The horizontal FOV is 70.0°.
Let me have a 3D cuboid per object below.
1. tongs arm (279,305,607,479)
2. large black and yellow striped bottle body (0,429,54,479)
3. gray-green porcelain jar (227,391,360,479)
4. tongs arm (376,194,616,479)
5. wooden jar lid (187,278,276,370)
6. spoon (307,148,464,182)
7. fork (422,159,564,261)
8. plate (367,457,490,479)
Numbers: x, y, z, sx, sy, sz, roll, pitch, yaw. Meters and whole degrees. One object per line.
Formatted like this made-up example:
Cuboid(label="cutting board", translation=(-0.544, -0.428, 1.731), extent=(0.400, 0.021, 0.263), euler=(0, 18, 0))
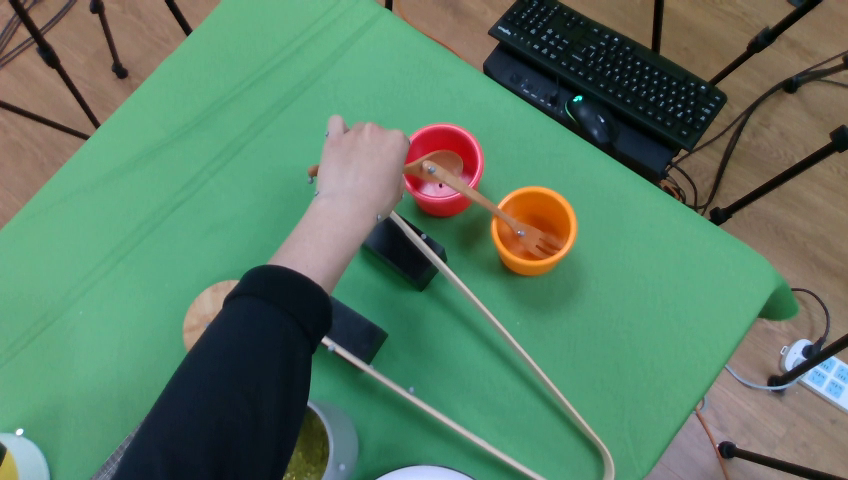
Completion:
Cuboid(label="tongs arm", translation=(0.019, 0.160, 0.635), extent=(0.384, 0.026, 0.050), euler=(34, 78, 4))
Cuboid(label="large black and yellow striped bottle body", translation=(-0.496, 0.259, 0.616), extent=(0.130, 0.185, 0.130), euler=(-2, 73, 6))
Cuboid(label="gray-green porcelain jar", translation=(-0.125, 0.211, 0.619), extent=(0.106, 0.127, 0.105), euler=(-2, 73, 6))
Cuboid(label="tongs arm", translation=(0.073, 0.097, 0.649), extent=(0.028, 0.028, 0.386), euler=(-40, 84, -14))
Cuboid(label="wooden jar lid", translation=(-0.226, 0.099, 0.718), extent=(0.108, 0.021, 0.108), euler=(-1, 75, 5))
Cuboid(label="spoon", translation=(-0.033, -0.076, 0.633), extent=(0.021, 0.195, 0.042), euler=(44, 126, 34))
Cuboid(label="fork", translation=(0.079, -0.031, 0.654), extent=(0.209, 0.018, 0.028), euler=(32, 84, -31))
Cuboid(label="plate", translation=(0.005, 0.329, 0.617), extent=(0.207, 0.039, 0.206), euler=(-2, 74, 6))
